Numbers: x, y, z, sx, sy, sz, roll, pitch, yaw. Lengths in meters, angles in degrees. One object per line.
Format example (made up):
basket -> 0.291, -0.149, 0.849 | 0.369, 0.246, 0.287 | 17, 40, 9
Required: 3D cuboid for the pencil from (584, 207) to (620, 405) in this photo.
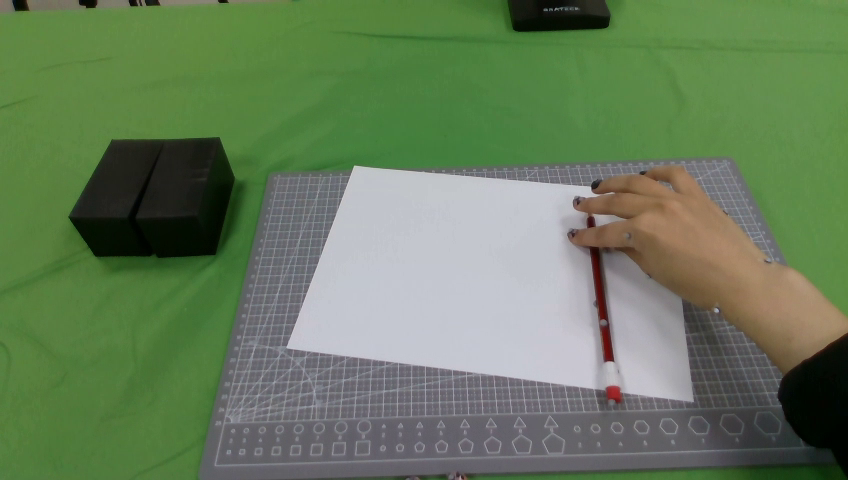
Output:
pencil -> 0.139, 0.042, 0.482 | 0.012, 0.012, 0.192 | 3, 48, 4
